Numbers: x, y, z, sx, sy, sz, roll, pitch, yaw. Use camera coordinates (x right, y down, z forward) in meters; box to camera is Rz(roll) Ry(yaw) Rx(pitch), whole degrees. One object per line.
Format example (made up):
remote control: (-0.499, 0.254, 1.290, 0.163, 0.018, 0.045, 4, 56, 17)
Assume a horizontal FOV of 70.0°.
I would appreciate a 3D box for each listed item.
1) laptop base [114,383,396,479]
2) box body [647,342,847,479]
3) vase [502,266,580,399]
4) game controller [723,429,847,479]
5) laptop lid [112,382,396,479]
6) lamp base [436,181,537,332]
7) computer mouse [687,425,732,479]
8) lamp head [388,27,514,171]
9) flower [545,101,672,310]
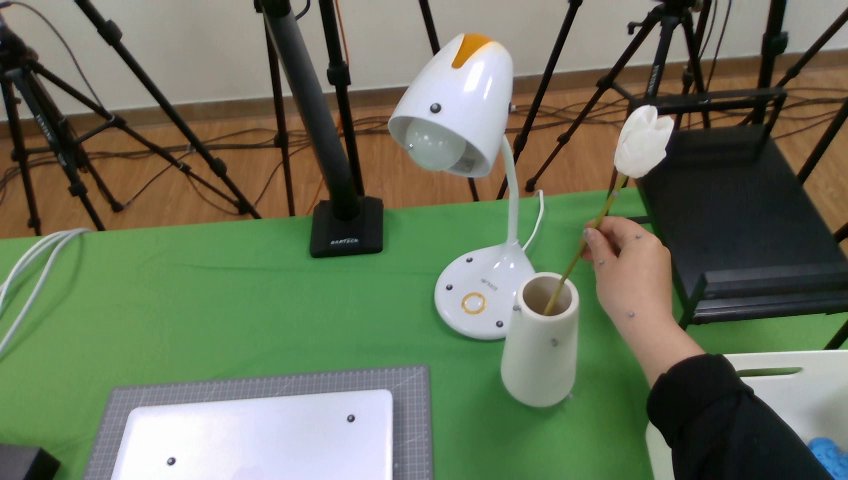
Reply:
laptop base: (-0.210, 0.297, 0.749, 0.354, 0.023, 0.233, -4, 54, 1)
box body: (0.391, 0.301, 0.602, 0.254, 0.162, 0.360, -3, 50, 3)
vase: (0.146, 0.117, 0.752, 0.098, 0.202, 0.097, -3, 49, 4)
game controller: (0.427, 0.267, 0.696, 0.155, 0.052, 0.096, -1, 49, 2)
laptop lid: (-0.211, 0.292, 0.739, 0.357, 0.013, 0.239, -3, 52, 2)
lamp base: (0.098, 0.011, 0.857, 0.159, 0.182, 0.178, 23, 53, 22)
computer mouse: (0.318, 0.268, 0.707, 0.063, 0.041, 0.116, -6, 41, 3)
lamp head: (0.039, -0.143, 0.599, 0.112, 0.113, 0.122, 20, 72, 21)
flower: (0.158, 0.016, 0.630, 0.038, 0.364, 0.043, 3, 46, -13)
